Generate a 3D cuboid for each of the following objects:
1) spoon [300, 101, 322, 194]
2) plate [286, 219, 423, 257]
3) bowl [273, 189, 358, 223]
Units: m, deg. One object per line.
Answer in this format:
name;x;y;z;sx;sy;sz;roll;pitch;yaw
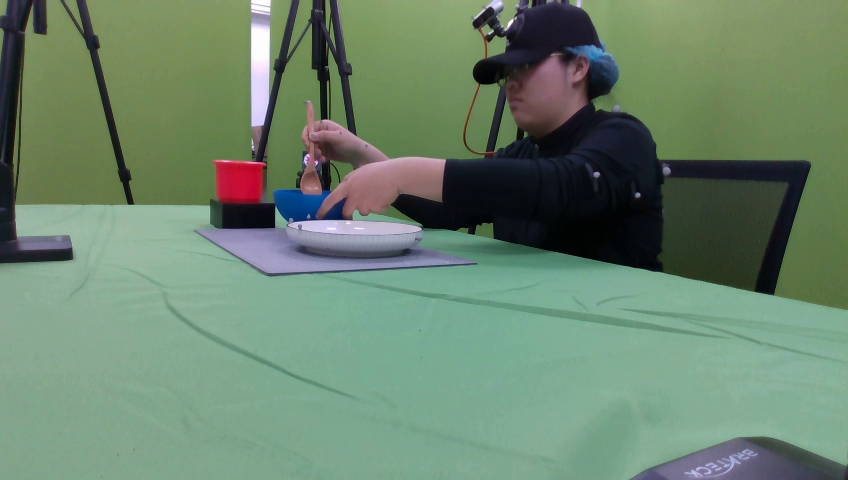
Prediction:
spoon;-0.210;-0.169;1.129;0.042;0.193;0.021;3;-8;-28
plate;-0.105;-0.004;0.923;0.208;0.039;0.207;3;7;0
bowl;-0.195;-0.049;1.084;0.151;0.077;0.151;2;7;0
